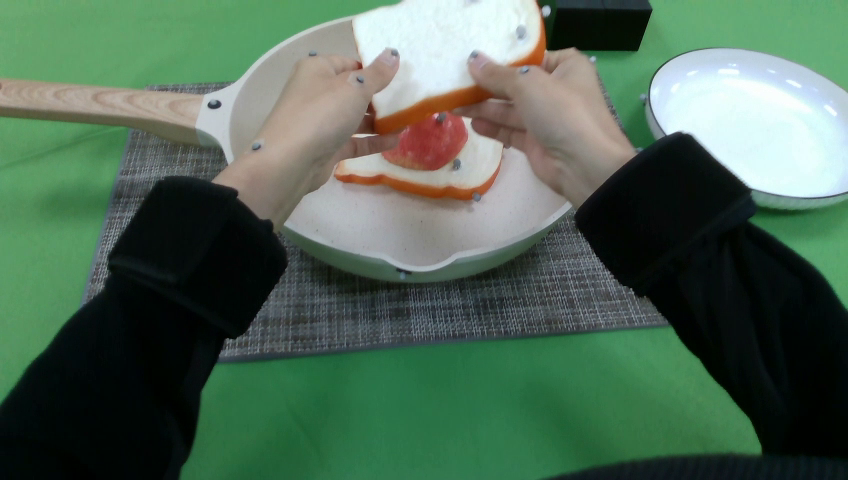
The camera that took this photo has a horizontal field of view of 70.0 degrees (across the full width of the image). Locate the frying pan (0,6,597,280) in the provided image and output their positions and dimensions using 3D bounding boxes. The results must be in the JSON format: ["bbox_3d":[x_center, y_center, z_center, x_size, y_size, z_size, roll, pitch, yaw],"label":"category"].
[{"bbox_3d":[-0.114,-0.092,0.479,0.489,0.103,0.303,6,50,-9],"label":"frying pan"}]

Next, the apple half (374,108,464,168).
[{"bbox_3d":[-0.005,-0.097,0.510,0.081,0.033,0.080,1,51,0],"label":"apple half"}]

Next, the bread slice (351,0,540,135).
[{"bbox_3d":[0.014,-0.140,0.430,0.131,0.019,0.104,-20,62,8],"label":"bread slice"}]

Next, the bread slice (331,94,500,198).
[{"bbox_3d":[-0.002,-0.081,0.527,0.134,0.018,0.106,8,52,4],"label":"bread slice"}]

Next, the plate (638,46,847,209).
[{"bbox_3d":[0.299,-0.103,0.560,0.208,0.039,0.205,2,52,-2],"label":"plate"}]
